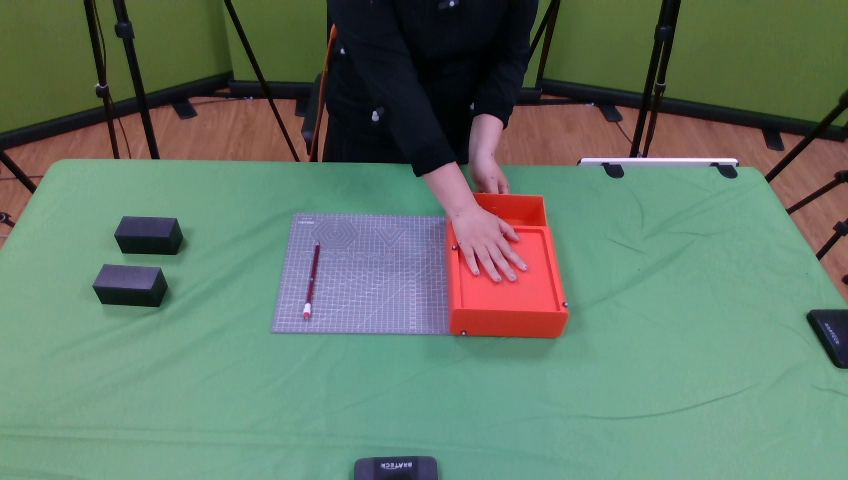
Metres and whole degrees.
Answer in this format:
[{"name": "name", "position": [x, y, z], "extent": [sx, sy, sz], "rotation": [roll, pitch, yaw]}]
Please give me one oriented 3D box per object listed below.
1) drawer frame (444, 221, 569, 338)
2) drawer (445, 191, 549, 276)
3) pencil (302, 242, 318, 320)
[{"name": "drawer frame", "position": [0.141, 0.068, 1.098], "extent": [0.202, 0.083, 0.212], "rotation": [2, 46, -4]}, {"name": "drawer", "position": [0.140, 0.004, 1.157], "extent": [0.195, 0.073, 0.210], "rotation": [3, 47, -4]}, {"name": "pencil", "position": [-0.209, 0.070, 1.119], "extent": [0.012, 0.012, 0.193], "rotation": [2, 44, -3]}]
